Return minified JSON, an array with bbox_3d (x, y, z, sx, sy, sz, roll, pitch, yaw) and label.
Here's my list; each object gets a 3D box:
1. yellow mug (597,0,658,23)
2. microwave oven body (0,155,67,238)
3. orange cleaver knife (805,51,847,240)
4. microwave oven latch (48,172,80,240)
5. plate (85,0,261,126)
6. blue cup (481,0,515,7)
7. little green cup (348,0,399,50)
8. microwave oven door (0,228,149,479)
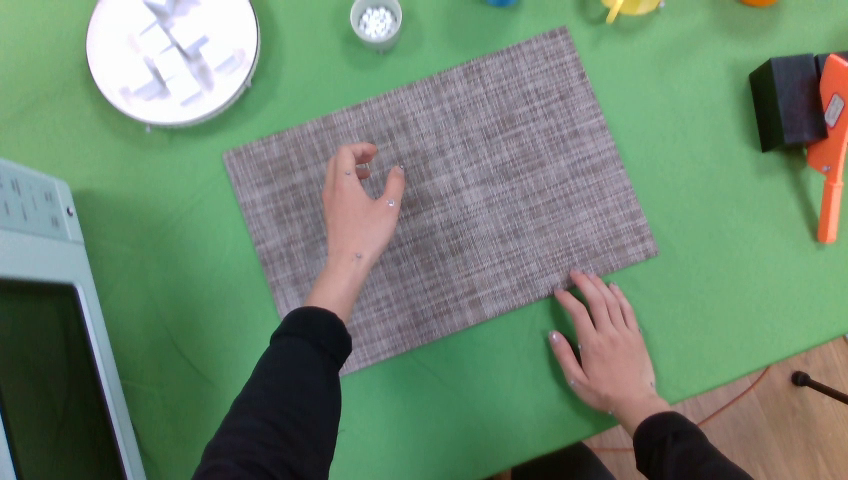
[{"bbox_3d":[0.246,-0.320,0.725,0.100,0.064,0.130,27,87,3],"label":"yellow mug"},{"bbox_3d":[-0.514,0.165,0.586,0.326,0.260,0.440,-18,85,-2],"label":"microwave oven body"},{"bbox_3d":[0.462,-0.105,0.695,0.012,0.076,0.213,-6,114,2],"label":"orange cleaver knife"},{"bbox_3d":[-0.425,-0.037,0.700,0.030,0.029,0.079,-17,85,-2],"label":"microwave oven latch"},{"bbox_3d":[-0.299,-0.237,0.736,0.208,0.039,0.207,0,85,1],"label":"plate"},{"bbox_3d":[0.092,-0.324,0.709,0.092,0.100,0.092,0,85,0],"label":"blue cup"},{"bbox_3d":[-0.059,-0.263,0.736,0.061,0.039,0.061,0,84,1],"label":"little green cup"},{"bbox_3d":[-0.363,0.161,0.579,0.039,0.244,0.355,-18,84,-1],"label":"microwave oven door"}]
